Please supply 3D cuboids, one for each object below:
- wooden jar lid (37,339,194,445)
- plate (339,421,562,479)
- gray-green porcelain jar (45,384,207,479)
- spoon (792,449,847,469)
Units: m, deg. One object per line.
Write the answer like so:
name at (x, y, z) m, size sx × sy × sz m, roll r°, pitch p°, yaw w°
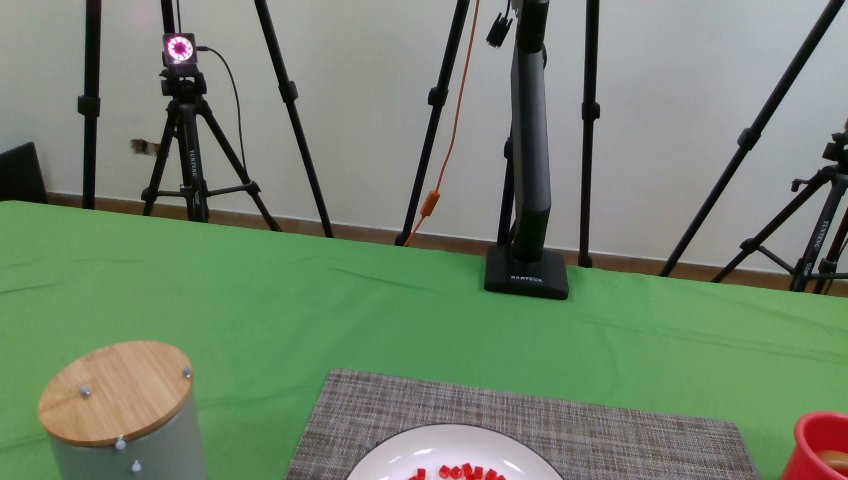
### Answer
wooden jar lid at (-0.233, 0.118, 0.466) m, size 0.108 × 0.021 × 0.107 m, roll 3°, pitch 31°, yaw -2°
plate at (0.025, 0.240, 0.500) m, size 0.208 × 0.039 × 0.206 m, roll 4°, pitch 29°, yaw -2°
gray-green porcelain jar at (-0.238, 0.174, 0.498) m, size 0.106 × 0.127 × 0.105 m, roll 4°, pitch 29°, yaw -2°
spoon at (0.408, 0.196, 0.518) m, size 0.042 × 0.021 × 0.193 m, roll -5°, pitch -9°, yaw -25°
